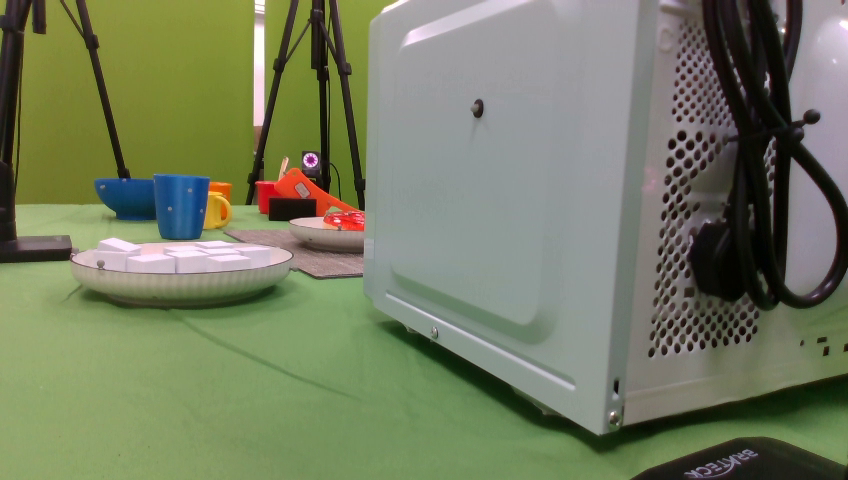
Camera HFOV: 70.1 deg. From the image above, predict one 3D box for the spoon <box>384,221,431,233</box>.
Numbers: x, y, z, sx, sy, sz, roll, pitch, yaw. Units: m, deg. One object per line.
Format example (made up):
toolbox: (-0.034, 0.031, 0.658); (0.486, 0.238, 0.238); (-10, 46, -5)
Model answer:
spoon: (-0.024, -0.029, 1.188); (0.041, 0.021, 0.194); (-12, 0, 23)

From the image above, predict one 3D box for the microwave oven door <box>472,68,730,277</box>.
microwave oven door: (0.214, -0.096, 0.820); (0.039, 0.243, 0.354); (-6, 11, -44)

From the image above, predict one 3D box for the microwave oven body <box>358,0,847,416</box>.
microwave oven body: (0.211, -0.047, 0.474); (0.444, 0.260, 0.324); (-1, 7, -28)

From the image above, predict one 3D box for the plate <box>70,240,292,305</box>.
plate: (-0.242, 0.031, 0.618); (0.208, 0.039, 0.207); (2, 8, 0)

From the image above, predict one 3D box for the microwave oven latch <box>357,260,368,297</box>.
microwave oven latch: (-0.019, 0.033, 0.530); (0.079, 0.029, 0.030); (-1, 7, -27)

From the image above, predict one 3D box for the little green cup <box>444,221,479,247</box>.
little green cup: (0.064, -0.011, 1.034); (0.061, 0.038, 0.061); (0, 9, 0)

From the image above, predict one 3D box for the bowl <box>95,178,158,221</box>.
bowl: (-0.576, -0.081, 1.217); (0.151, 0.077, 0.151); (3, 8, 0)

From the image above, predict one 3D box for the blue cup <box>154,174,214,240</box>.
blue cup: (-0.390, -0.053, 0.978); (0.093, 0.100, 0.092); (3, 6, 0)

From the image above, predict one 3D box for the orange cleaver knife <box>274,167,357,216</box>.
orange cleaver knife: (-0.238, -0.090, 1.381); (0.212, 0.077, 0.012); (31, 0, -19)

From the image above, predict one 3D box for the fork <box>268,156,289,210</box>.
fork: (-0.360, -0.144, 1.508); (0.028, 0.018, 0.207); (1, 49, 0)

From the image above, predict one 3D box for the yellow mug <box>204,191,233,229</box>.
yellow mug: (-0.415, -0.057, 1.132); (0.130, 0.064, 0.100); (6, 8, 16)

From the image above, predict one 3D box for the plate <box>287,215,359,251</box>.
plate: (-0.112, -0.012, 0.960); (0.209, 0.038, 0.209); (3, 8, 0)

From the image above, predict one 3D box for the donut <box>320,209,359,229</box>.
donut: (-0.115, -0.023, 0.961); (0.099, 0.048, 0.099); (5, 9, 0)
